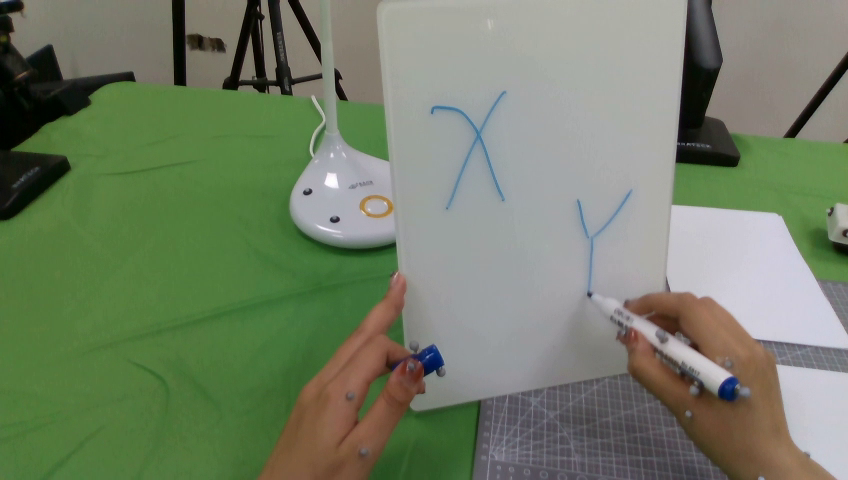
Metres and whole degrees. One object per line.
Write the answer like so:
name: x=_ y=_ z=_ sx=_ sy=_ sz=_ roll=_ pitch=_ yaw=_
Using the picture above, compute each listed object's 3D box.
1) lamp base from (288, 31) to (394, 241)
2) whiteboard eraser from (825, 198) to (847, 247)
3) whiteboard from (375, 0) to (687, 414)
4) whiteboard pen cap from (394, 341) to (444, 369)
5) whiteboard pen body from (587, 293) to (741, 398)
lamp base: x=-0.079 y=-0.117 z=0.643 sx=0.161 sy=0.182 sz=0.177 roll=-26 pitch=44 yaw=-30
whiteboard eraser: x=0.489 y=-0.008 z=0.639 sx=0.112 sy=0.042 sz=0.055 roll=17 pitch=43 yaw=18
whiteboard: x=0.071 y=-0.044 z=0.503 sx=0.218 sy=0.307 sz=0.142 roll=-8 pitch=20 yaw=-10
whiteboard pen cap: x=-0.002 y=0.074 z=0.392 sx=0.033 sy=0.018 sz=0.018 roll=-3 pitch=29 yaw=40
whiteboard pen body: x=0.155 y=0.065 z=0.416 sx=0.017 sy=0.017 sz=0.139 roll=-15 pitch=25 yaw=-19
